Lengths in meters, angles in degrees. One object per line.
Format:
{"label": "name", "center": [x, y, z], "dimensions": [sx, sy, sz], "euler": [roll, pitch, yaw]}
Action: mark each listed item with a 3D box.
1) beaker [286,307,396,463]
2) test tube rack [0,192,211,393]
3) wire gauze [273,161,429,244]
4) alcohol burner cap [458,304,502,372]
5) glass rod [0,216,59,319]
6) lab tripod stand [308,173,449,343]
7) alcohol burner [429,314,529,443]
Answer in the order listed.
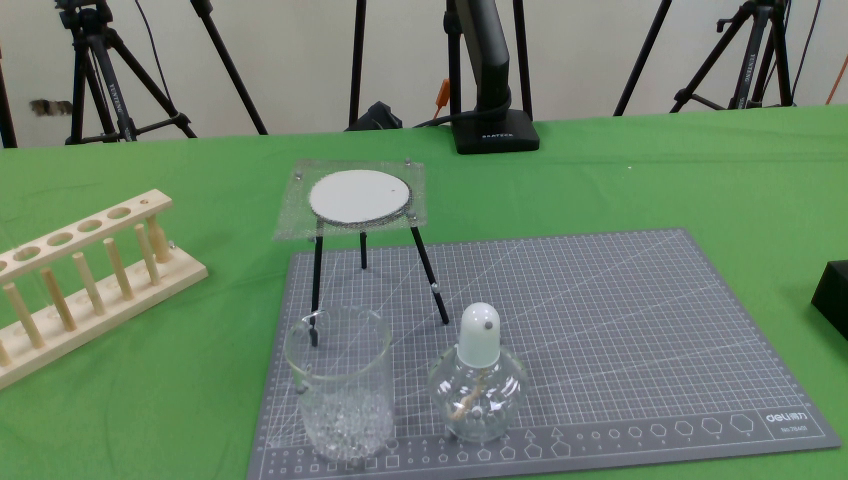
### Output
{"label": "beaker", "center": [-0.060, 0.110, 0.454], "dimensions": [0.083, 0.101, 0.074], "euler": [25, 43, 33]}
{"label": "test tube rack", "center": [-0.335, 0.048, 0.573], "dimensions": [0.066, 0.086, 0.242], "euler": [26, 44, 34]}
{"label": "wire gauze", "center": [-0.058, -0.037, 0.517], "dimensions": [0.121, 0.011, 0.124], "euler": [-1, 36, -1]}
{"label": "alcohol burner cap", "center": [0.042, 0.067, 0.435], "dimensions": [0.034, 0.048, 0.033], "euler": [0, 37, 0]}
{"label": "glass rod", "center": [-0.372, -0.007, 0.537], "dimensions": [0.008, 0.201, 0.008], "euler": [-6, 33, 4]}
{"label": "lab tripod stand", "center": [-0.047, 0.016, 0.558], "dimensions": [0.148, 0.132, 0.147], "euler": [0, 34, 0]}
{"label": "alcohol burner", "center": [0.042, 0.097, 0.456], "dimensions": [0.078, 0.120, 0.077], "euler": [-1, 37, 1]}
